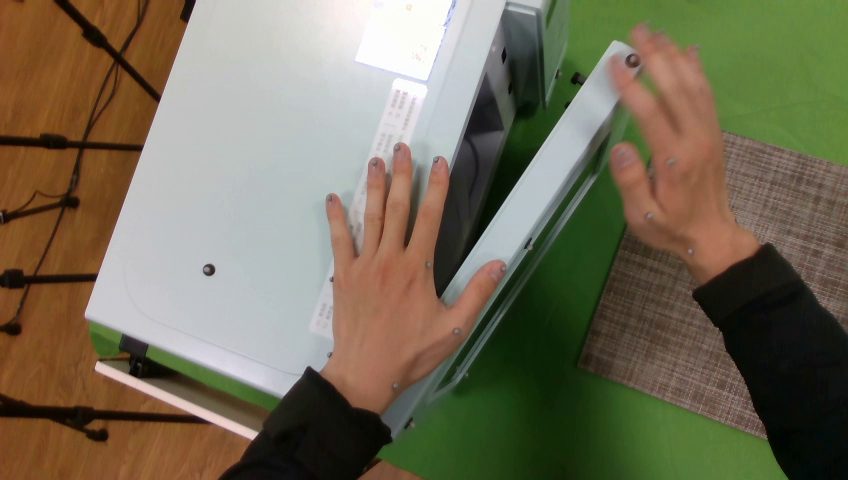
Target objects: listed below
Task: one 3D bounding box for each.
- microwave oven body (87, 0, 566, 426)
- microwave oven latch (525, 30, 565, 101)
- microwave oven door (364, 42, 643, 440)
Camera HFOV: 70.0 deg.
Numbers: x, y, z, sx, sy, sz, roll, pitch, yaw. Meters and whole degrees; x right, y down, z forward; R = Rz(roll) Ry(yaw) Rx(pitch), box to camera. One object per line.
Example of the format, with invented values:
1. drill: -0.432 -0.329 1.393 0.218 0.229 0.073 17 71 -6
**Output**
1. microwave oven body: -0.078 -0.089 0.623 0.325 0.261 0.441 18 89 13
2. microwave oven latch: 0.137 -0.201 0.687 0.030 0.029 0.079 19 89 13
3. microwave oven door: 0.081 0.013 0.574 0.039 0.245 0.356 34 92 14
